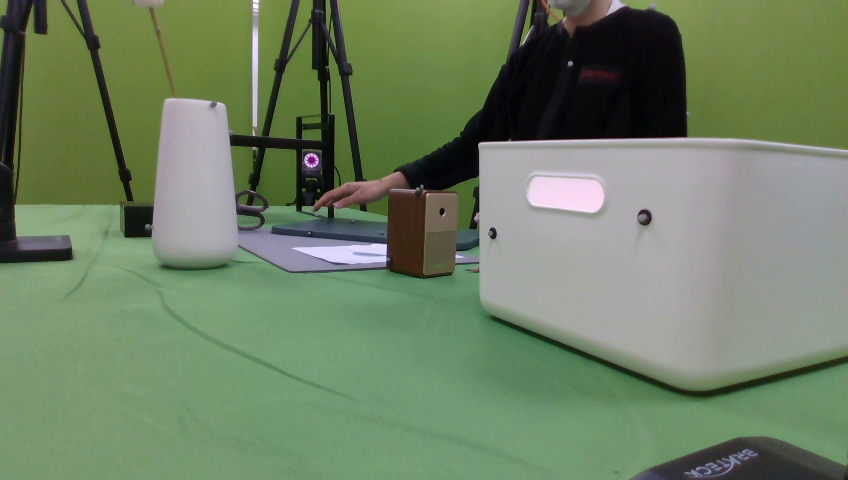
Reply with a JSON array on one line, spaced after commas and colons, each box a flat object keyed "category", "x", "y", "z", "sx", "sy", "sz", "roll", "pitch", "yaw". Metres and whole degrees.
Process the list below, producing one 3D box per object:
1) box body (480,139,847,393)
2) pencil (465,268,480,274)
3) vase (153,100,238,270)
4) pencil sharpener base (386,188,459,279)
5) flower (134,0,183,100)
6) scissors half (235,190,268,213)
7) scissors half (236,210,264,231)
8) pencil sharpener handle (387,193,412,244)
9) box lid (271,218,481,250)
[{"category": "box body", "x": 0.255, "y": 0.001, "z": 0.541, "sx": 0.366, "sy": 0.160, "sz": 0.253, "roll": -2, "pitch": 9, "yaw": -31}, {"category": "pencil", "x": 0.149, "y": 0.041, "z": 0.804, "sx": 0.194, "sy": 0.012, "sz": 0.012, "roll": 0, "pitch": 8, "yaw": -11}, {"category": "vase", "x": -0.278, "y": -0.066, "z": 0.736, "sx": 0.098, "sy": 0.200, "sz": 0.098, "roll": 2, "pitch": 9, "yaw": 0}, {"category": "pencil sharpener base", "x": -0.004, "y": -0.011, "z": 0.761, "sx": 0.062, "sy": 0.107, "sz": 0.076, "roll": -5, "pitch": 10, "yaw": -44}, {"category": "flower", "x": -0.282, "y": -0.147, "z": 0.713, "sx": 0.038, "sy": 0.362, "sz": 0.044, "roll": -23, "pitch": 24, "yaw": -31}, {"category": "scissors half", "x": -0.363, "y": -0.070, "z": 1.060, "sx": 0.176, "sy": 0.040, "sz": 0.013, "roll": 0, "pitch": 16, "yaw": -23}, {"category": "scissors half", "x": -0.369, "y": -0.051, "z": 1.064, "sx": 0.176, "sy": 0.040, "sz": 0.012, "roll": 19, "pitch": 13, "yaw": -27}, {"category": "pencil sharpener handle", "x": -0.038, "y": -0.029, "z": 0.797, "sx": 0.036, "sy": 0.067, "sz": 0.030, "roll": -13, "pitch": 15, "yaw": -42}, {"category": "box lid", "x": -0.072, "y": -0.014, "z": 1.141, "sx": 0.371, "sy": 0.015, "sz": 0.264, "roll": 5, "pitch": 7, "yaw": 16}]
